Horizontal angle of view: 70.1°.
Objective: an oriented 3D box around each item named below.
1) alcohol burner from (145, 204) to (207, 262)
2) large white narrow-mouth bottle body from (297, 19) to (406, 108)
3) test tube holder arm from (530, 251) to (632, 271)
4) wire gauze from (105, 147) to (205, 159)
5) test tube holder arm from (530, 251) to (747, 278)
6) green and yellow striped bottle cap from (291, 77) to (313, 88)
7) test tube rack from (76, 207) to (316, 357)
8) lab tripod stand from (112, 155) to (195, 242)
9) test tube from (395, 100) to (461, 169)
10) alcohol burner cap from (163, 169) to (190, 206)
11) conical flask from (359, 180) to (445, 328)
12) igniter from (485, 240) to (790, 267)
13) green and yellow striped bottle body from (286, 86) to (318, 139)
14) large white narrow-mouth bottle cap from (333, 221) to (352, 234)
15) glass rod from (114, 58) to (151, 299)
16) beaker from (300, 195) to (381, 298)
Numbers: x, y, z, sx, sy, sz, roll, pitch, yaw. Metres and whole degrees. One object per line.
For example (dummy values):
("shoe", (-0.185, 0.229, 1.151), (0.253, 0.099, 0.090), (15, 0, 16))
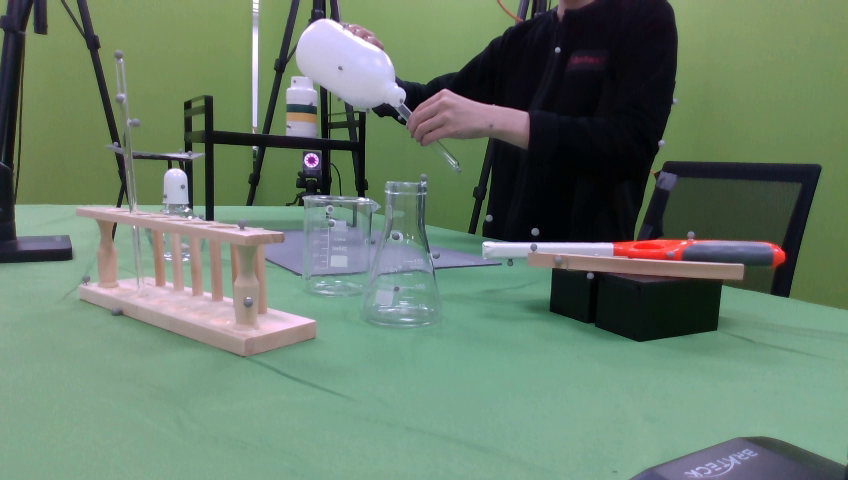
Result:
("alcohol burner", (-0.322, -0.032, 0.788), (0.078, 0.119, 0.078), (0, 7, 0))
("large white narrow-mouth bottle body", (-0.109, -0.274, 0.982), (0.194, 0.101, 0.102), (36, 21, 21))
("test tube holder arm", (0.139, 0.019, 0.538), (0.087, 0.015, 0.010), (3, 7, 13))
("wire gauze", (-0.407, -0.131, 0.928), (0.125, 0.011, 0.121), (2, 6, -11))
("test tube holder arm", (0.182, 0.022, 0.523), (0.178, 0.015, 0.013), (3, 7, 12))
("green and yellow striped bottle cap", (-0.250, -0.321, 1.238), (0.045, 0.020, 0.045), (3, 6, 0))
("test tube rack", (-0.196, 0.023, 0.500), (0.241, 0.085, 0.067), (8, 9, 36))
("lab tripod stand", (-0.405, -0.064, 0.931), (0.148, 0.131, 0.148), (1, 6, 0))
("test tube", (0.006, -0.162, 0.926), (0.150, 0.017, 0.017), (49, 27, 18))
("alcohol burner cap", (-0.320, -0.068, 0.782), (0.034, 0.048, 0.034), (1, 7, 0))
("conical flask", (-0.017, 0.010, 0.522), (0.075, 0.122, 0.075), (2, 7, 0))
("igniter", (0.197, 0.012, 0.585), (0.276, 0.025, 0.057), (1, 5, 12))
("green and yellow striped bottle body", (-0.251, -0.270, 1.245), (0.063, 0.119, 0.063), (2, 7, 0))
("large white narrow-mouth bottle cap", (-0.152, -0.024, 1.134), (0.038, 0.024, 0.037), (4, 7, 0))
("glass rod", (-0.236, -0.044, 0.492), (0.008, 0.199, 0.008), (0, 15, 0))
("beaker", (-0.087, 0.006, 0.626), (0.084, 0.100, 0.074), (1, 8, -17))
